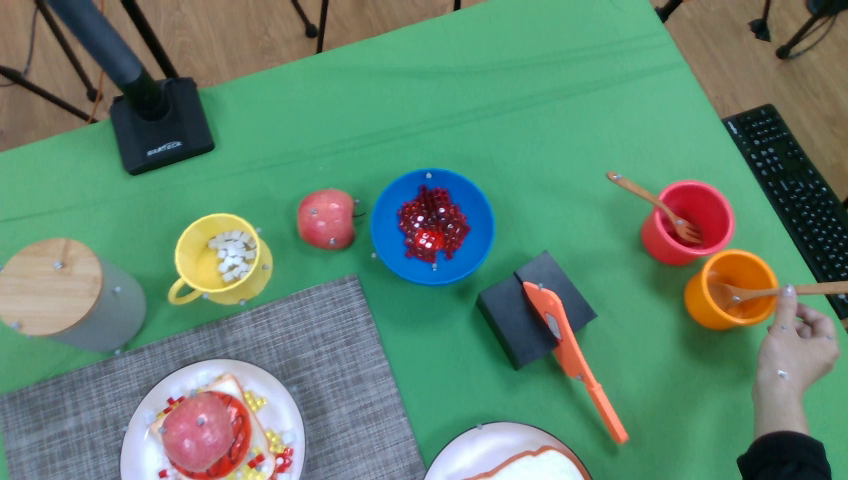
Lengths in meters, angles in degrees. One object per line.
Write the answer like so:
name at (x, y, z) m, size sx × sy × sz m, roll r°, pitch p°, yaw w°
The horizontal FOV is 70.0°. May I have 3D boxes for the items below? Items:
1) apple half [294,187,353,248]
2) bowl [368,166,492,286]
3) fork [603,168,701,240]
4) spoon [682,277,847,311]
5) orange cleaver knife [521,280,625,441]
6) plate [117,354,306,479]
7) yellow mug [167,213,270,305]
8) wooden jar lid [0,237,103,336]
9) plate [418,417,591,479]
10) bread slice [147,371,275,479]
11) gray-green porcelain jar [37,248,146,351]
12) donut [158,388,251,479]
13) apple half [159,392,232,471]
apple half at (-0.130, -0.033, 0.777) m, size 0.074 × 0.053 × 0.080 m, roll 2°, pitch 72°, yaw 2°
bowl at (0.007, -0.008, 0.757) m, size 0.151 × 0.077 × 0.150 m, roll 0°, pitch 72°, yaw -1°
fork at (0.282, -0.042, 0.737) m, size 0.209 × 0.018 × 0.028 m, roll 26°, pitch 66°, yaw -36°
spoon at (0.402, 0.058, 0.706) m, size 0.022 × 0.193 × 0.041 m, roll 23°, pitch 66°, yaw -40°
orange cleaver knife at (0.172, 0.139, 0.710) m, size 0.012 × 0.077 × 0.211 m, roll -30°, pitch 96°, yaw -18°
plate at (-0.237, 0.236, 0.689) m, size 0.208 × 0.039 × 0.206 m, roll 0°, pitch 72°, yaw -1°
yellow mug at (-0.259, 0.034, 0.745) m, size 0.131 × 0.064 × 0.099 m, roll -42°, pitch 77°, yaw -12°
wooden jar lid at (-0.393, 0.050, 0.637) m, size 0.108 × 0.021 × 0.107 m, roll 1°, pitch 69°, yaw -2°
plate at (0.090, 0.306, 0.676) m, size 0.209 × 0.038 × 0.208 m, roll 0°, pitch 72°, yaw 0°
bread slice at (-0.233, 0.232, 0.690) m, size 0.107 × 0.018 × 0.133 m, roll -37°, pitch 78°, yaw -12°
gray-green porcelain jar at (-0.393, 0.070, 0.698) m, size 0.106 × 0.127 × 0.105 m, roll 0°, pitch 71°, yaw -1°
donut at (-0.241, 0.213, 0.667) m, size 0.099 × 0.048 × 0.098 m, roll 0°, pitch 72°, yaw 0°
apple half at (-0.242, 0.200, 0.633) m, size 0.081 × 0.033 × 0.081 m, roll -2°, pitch 71°, yaw 6°
